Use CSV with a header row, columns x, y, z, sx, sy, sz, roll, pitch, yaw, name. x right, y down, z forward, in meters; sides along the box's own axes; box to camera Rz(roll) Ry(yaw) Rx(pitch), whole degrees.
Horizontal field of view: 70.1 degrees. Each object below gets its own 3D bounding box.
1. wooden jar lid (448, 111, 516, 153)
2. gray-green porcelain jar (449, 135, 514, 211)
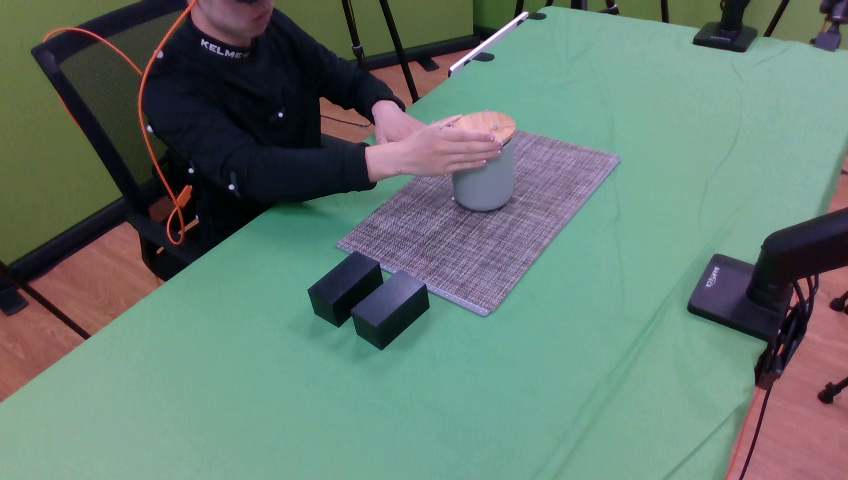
x,y,z,sx,sy,sz,roll,pitch,yaw,name
0.092,-0.171,0.965,0.108,0.021,0.108,-7,39,6,wooden jar lid
0.098,-0.120,1.009,0.106,0.127,0.105,-4,41,4,gray-green porcelain jar
